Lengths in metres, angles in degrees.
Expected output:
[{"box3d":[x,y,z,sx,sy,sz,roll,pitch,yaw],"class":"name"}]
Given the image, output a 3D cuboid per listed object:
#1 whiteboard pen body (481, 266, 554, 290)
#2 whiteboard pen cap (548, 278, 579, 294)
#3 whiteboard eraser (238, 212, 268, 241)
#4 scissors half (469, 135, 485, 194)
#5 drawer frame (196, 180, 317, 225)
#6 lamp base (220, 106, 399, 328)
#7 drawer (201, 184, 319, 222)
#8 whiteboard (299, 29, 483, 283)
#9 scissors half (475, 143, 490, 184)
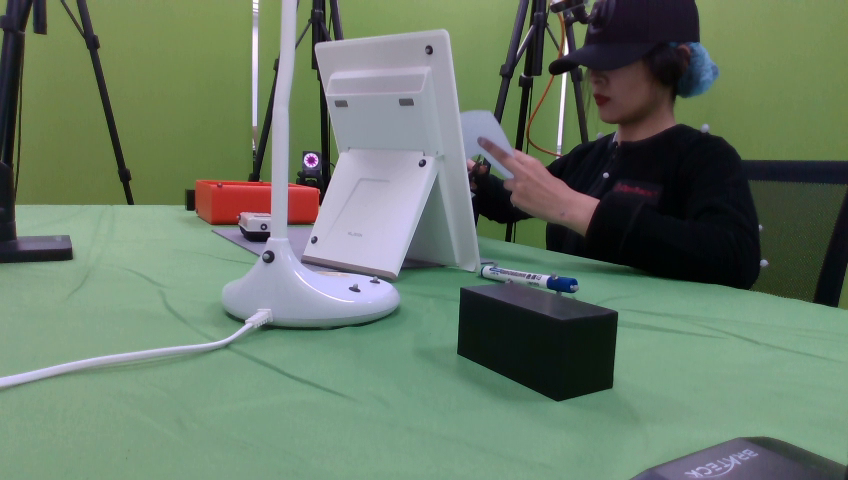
[{"box3d":[0.115,0.044,0.695,0.017,0.017,0.140,-3,6,-35],"class":"whiteboard pen body"},{"box3d":[0.148,0.049,0.647,0.018,0.018,0.033,-3,3,-35],"class":"whiteboard pen cap"},{"box3d":[-0.272,-0.024,0.998,0.056,0.042,0.112,-2,9,-24],"class":"whiteboard eraser"},{"box3d":[0.090,-0.126,1.104,0.013,0.175,0.040,30,51,12],"class":"scissors half"},{"box3d":[-0.359,-0.083,1.292,0.215,0.082,0.200,-2,10,-30],"class":"drawer frame"},{"box3d":[-0.102,-0.023,0.531,0.160,0.180,0.179,4,10,10],"class":"lamp base"},{"box3d":[-0.353,-0.082,1.295,0.213,0.073,0.193,-2,10,-28],"class":"drawer"},{"box3d":[-0.074,-0.082,0.742,0.216,0.305,0.144,9,29,38],"class":"whiteboard"},{"box3d":[0.104,-0.144,1.112,0.013,0.040,0.175,34,-4,14],"class":"scissors half"}]
